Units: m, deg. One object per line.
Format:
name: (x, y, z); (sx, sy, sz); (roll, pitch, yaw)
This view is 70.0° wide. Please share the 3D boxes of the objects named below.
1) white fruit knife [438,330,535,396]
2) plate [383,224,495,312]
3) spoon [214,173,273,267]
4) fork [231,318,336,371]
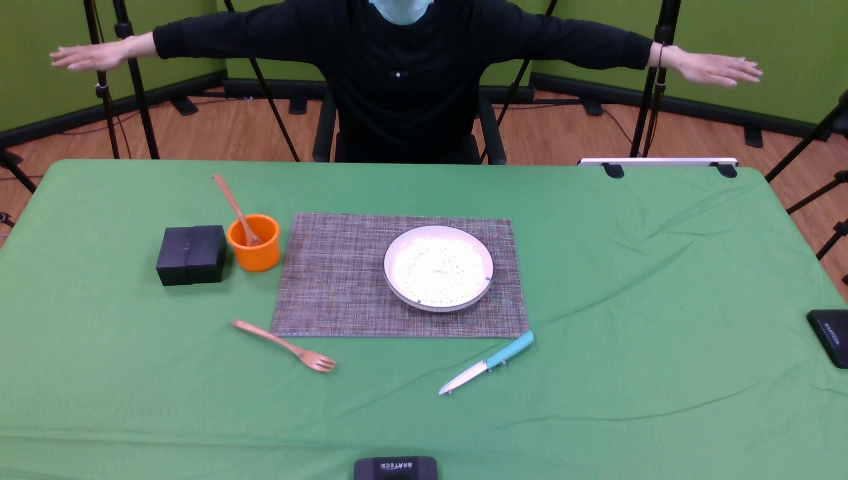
white fruit knife: (0.108, 0.206, 1.009); (0.207, 0.016, 0.027); (-27, 30, -22)
plate: (0.026, 0.055, 1.128); (0.209, 0.038, 0.208); (2, 46, -2)
spoon: (-0.336, -0.037, 1.121); (0.041, 0.194, 0.021); (-29, 10, -25)
fork: (-0.239, 0.173, 1.014); (0.207, 0.019, 0.028); (23, 54, 15)
